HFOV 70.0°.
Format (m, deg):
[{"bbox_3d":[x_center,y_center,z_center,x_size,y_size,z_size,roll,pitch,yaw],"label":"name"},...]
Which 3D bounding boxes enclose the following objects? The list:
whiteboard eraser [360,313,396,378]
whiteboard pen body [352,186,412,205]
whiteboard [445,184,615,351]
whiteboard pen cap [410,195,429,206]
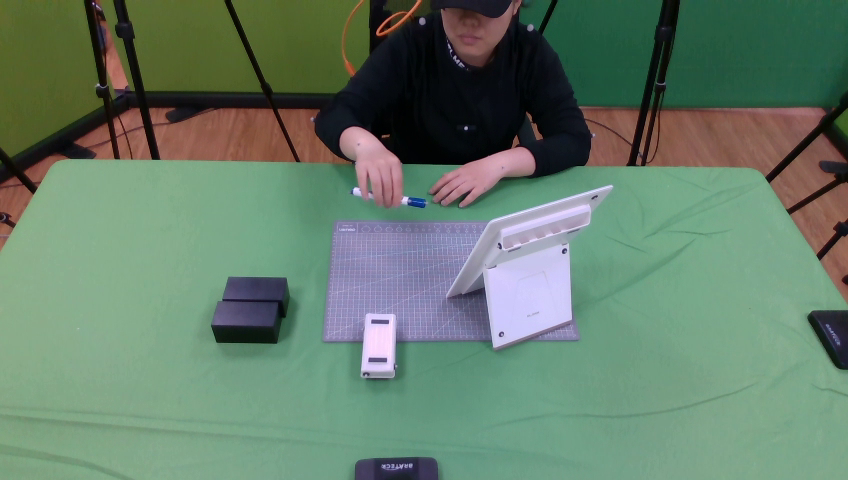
[{"bbox_3d":[-0.075,0.176,1.006,0.055,0.042,0.112,3,50,-4],"label":"whiteboard eraser"},{"bbox_3d":[-0.067,-0.080,1.111,0.140,0.017,0.017,12,46,15],"label":"whiteboard pen body"},{"bbox_3d":[0.186,0.065,0.989,0.217,0.306,0.143,-15,68,-18],"label":"whiteboard"},{"bbox_3d":[-0.008,-0.071,1.095,0.033,0.018,0.018,8,42,-28],"label":"whiteboard pen cap"}]
